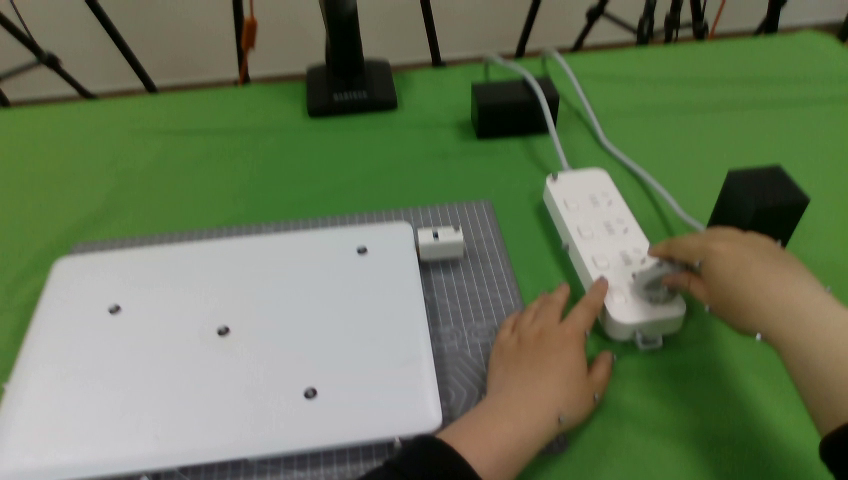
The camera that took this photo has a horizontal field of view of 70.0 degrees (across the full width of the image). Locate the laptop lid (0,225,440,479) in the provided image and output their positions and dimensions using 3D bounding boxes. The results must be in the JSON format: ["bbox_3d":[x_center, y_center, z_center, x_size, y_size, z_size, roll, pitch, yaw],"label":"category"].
[{"bbox_3d":[-0.175,0.085,0.529,0.357,0.013,0.239,-5,46,-4],"label":"laptop lid"}]

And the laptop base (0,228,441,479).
[{"bbox_3d":[-0.175,0.092,0.539,0.355,0.023,0.233,-6,47,-5],"label":"laptop base"}]

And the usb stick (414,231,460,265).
[{"bbox_3d":[0.006,0.009,0.603,0.059,0.027,0.021,-7,43,-1],"label":"usb stick"}]

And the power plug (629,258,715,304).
[{"bbox_3d":[0.220,0.042,0.539,0.072,0.053,0.035,3,44,1],"label":"power plug"}]

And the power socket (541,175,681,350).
[{"bbox_3d":[0.179,0.010,0.604,0.072,0.033,0.224,-6,44,-7],"label":"power socket"}]
